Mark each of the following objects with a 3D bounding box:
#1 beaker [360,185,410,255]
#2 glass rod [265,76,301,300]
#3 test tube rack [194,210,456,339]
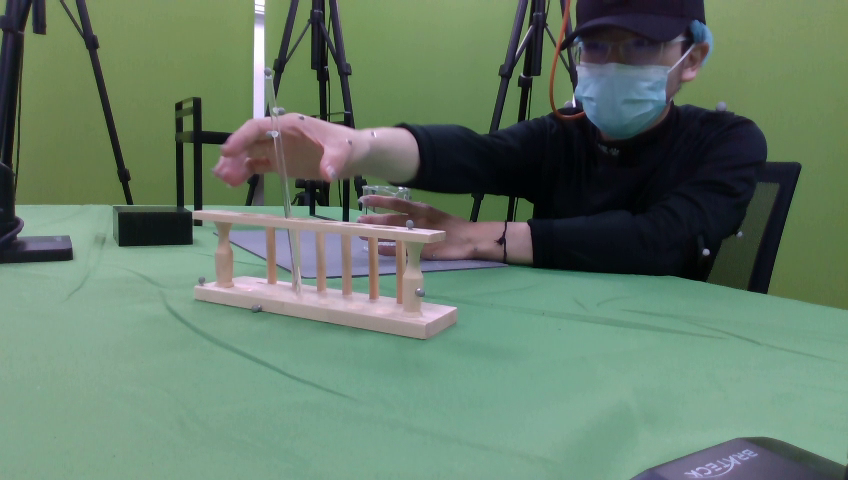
[{"bbox_3d":[-0.058,-0.031,0.907,0.074,0.100,0.083,-1,8,-22],"label":"beaker"},{"bbox_3d":[-0.124,-0.043,0.533,0.008,0.199,0.008,-6,7,1],"label":"glass rod"},{"bbox_3d":[-0.093,0.023,0.545,0.241,0.085,0.067,6,8,25],"label":"test tube rack"}]
